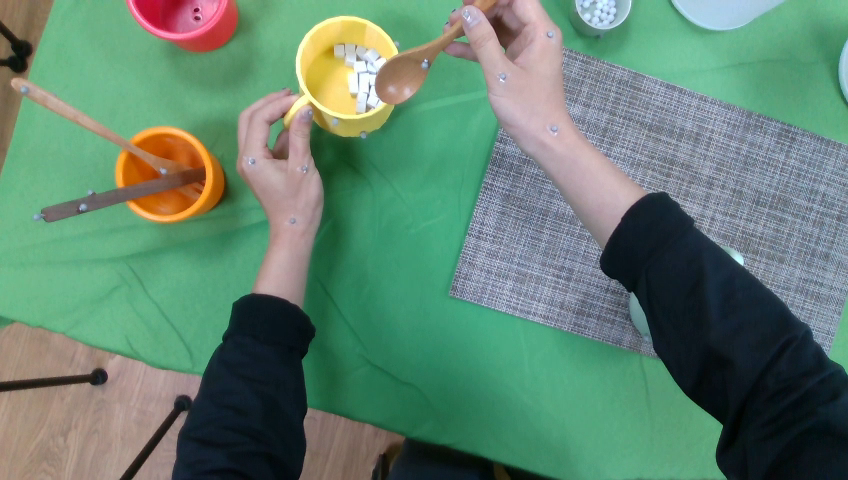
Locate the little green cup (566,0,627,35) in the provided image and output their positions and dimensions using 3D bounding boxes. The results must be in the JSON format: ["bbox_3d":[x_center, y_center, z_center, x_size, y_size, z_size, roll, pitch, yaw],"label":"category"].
[{"bbox_3d":[0.184,-0.255,0.659,0.061,0.038,0.061,0,92,-3],"label":"little green cup"}]

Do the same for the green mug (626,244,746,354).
[{"bbox_3d":[0.283,0.058,0.642,0.092,0.105,0.125,34,89,-4],"label":"green mug"}]

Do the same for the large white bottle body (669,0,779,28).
[{"bbox_3d":[0.331,-0.301,0.595,0.131,0.184,0.130,0,91,-4],"label":"large white bottle body"}]

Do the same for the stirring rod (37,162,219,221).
[{"bbox_3d":[-0.275,-0.049,0.581,0.176,0.006,0.014,-26,96,-45],"label":"stirring rod"}]

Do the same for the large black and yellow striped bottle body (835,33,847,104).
[{"bbox_3d":[0.541,-0.197,0.616,0.131,0.183,0.131,0,92,-4],"label":"large black and yellow striped bottle body"}]

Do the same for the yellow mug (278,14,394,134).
[{"bbox_3d":[-0.090,-0.152,0.599,0.131,0.064,0.100,-40,93,-9],"label":"yellow mug"}]

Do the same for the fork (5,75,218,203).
[{"bbox_3d":[-0.284,-0.091,0.573,0.209,0.018,0.028,37,84,-48],"label":"fork"}]

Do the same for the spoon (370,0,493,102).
[{"bbox_3d":[0.021,-0.173,0.493,0.042,0.193,0.021,26,53,-32],"label":"spoon"}]
